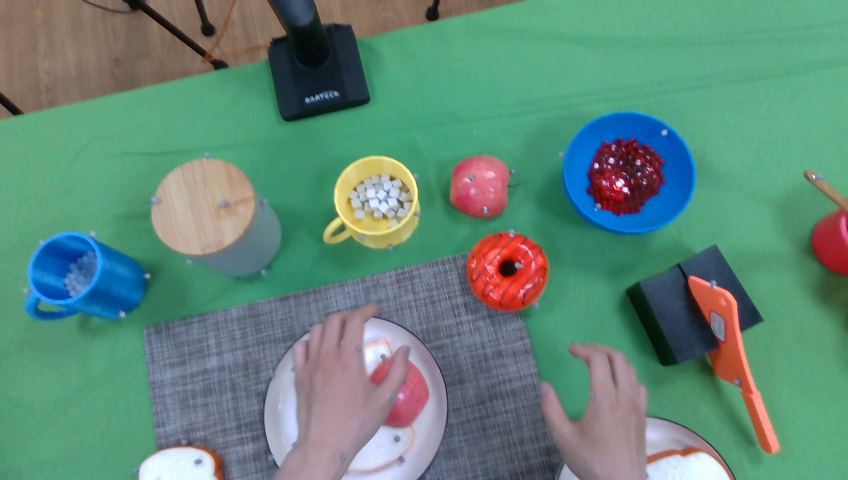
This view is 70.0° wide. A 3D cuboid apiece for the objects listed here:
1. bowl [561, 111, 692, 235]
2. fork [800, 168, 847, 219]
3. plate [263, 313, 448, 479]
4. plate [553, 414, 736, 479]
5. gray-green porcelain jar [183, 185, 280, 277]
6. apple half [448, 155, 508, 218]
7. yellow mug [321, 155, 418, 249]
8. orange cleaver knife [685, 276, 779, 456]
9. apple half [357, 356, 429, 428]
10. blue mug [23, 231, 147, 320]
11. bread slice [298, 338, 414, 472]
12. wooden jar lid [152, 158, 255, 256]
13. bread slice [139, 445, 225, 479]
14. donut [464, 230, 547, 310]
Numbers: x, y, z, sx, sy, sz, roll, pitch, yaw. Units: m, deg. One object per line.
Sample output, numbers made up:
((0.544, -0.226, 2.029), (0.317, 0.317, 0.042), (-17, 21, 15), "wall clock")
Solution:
((0.234, -0.070, 0.733), (0.151, 0.077, 0.150), (0, 76, 2), "bowl")
((0.471, -0.031, 0.682), (0.209, 0.018, 0.028), (29, 73, -35), "fork")
((-0.076, 0.188, 0.690), (0.207, 0.039, 0.206), (0, 76, 1), "plate")
((0.238, 0.297, 0.658), (0.209, 0.038, 0.208), (-1, 75, 2), "plate")
((-0.230, -0.017, 0.705), (0.106, 0.127, 0.105), (0, 75, 1), "gray-green porcelain jar")
((0.067, -0.072, 0.751), (0.074, 0.053, 0.080), (8, 76, 6), "apple half")
((-0.070, -0.036, 0.737), (0.131, 0.064, 0.099), (-36, 77, -7), "yellow mug")
((0.340, 0.138, 0.674), (0.012, 0.077, 0.212), (-24, 98, -12), "orange cleaver knife")
((-0.033, 0.169, 0.672), (0.081, 0.033, 0.081), (0, 74, 0), "apple half")
((-0.399, 0.053, 0.701), (0.116, 0.106, 0.082), (-39, 77, -8), "blue mug")
((-0.069, 0.191, 0.689), (0.107, 0.018, 0.133), (-24, 76, -5), "bread slice")
((-0.232, -0.034, 0.645), (0.108, 0.021, 0.108), (-1, 73, 2), "wooden jar lid")
((-0.275, 0.298, 0.676), (0.105, 0.019, 0.131), (-6, 77, -1), "bread slice")
((0.097, 0.036, 0.722), (0.099, 0.048, 0.098), (0, 76, 1), "donut")
